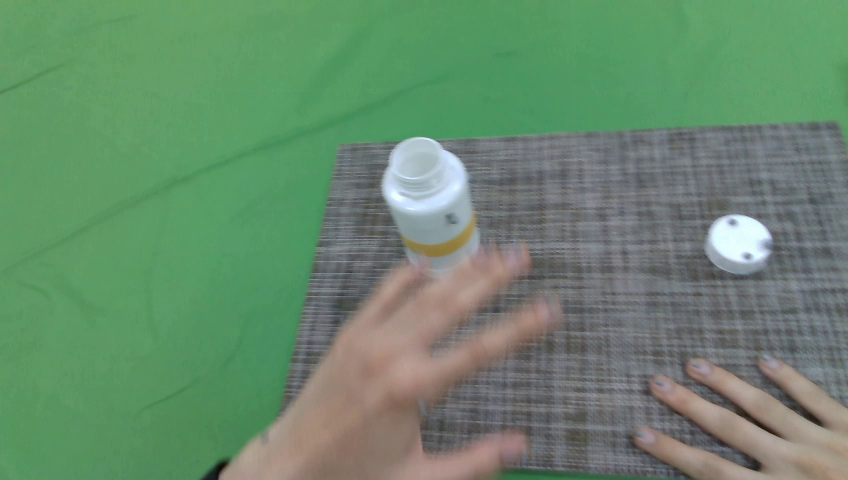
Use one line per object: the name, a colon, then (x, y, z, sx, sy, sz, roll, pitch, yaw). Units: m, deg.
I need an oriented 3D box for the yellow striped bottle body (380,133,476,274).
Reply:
yellow striped bottle body: (0.004, -0.028, 0.467, 0.063, 0.121, 0.062, -5, 57, 9)

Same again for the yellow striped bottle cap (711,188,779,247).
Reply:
yellow striped bottle cap: (0.237, -0.016, 0.449, 0.044, 0.019, 0.044, -7, 48, 9)
